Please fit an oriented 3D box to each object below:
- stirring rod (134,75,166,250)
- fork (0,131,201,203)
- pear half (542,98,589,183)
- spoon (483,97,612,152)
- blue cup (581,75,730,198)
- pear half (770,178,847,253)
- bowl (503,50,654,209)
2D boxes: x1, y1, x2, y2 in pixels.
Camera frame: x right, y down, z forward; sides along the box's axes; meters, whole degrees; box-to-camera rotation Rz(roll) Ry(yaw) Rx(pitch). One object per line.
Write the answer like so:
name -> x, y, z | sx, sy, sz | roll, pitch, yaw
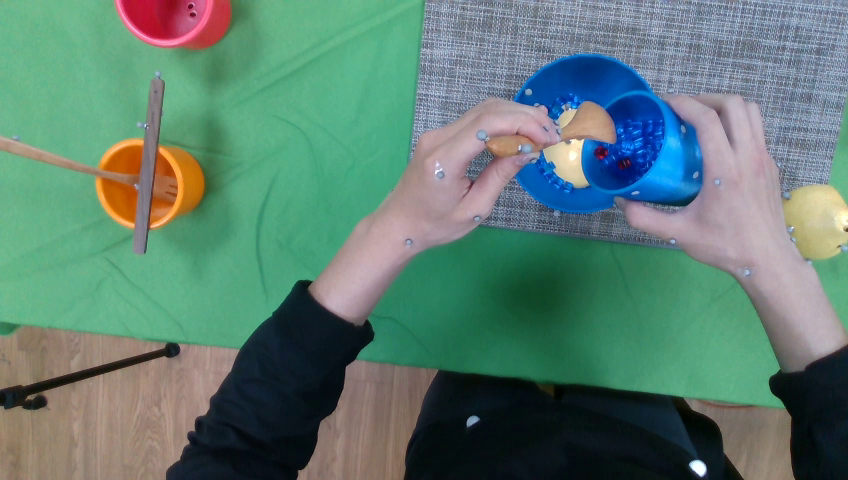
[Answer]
stirring rod -> -0.273, -0.075, 0.603 | 0.014, 0.006, 0.176 | 11, 101, -3
fork -> -0.326, -0.073, 0.606 | 0.209, 0.018, 0.028 | 17, 113, -45
pear half -> 0.155, -0.102, 0.609 | 0.070, 0.031, 0.088 | -19, 94, 2
spoon -> 0.091, -0.076, 0.419 | 0.021, 0.194, 0.041 | -36, 82, 41
blue cup -> 0.199, -0.074, 0.506 | 0.101, 0.092, 0.093 | 9, 101, -29
pear half -> 0.388, -0.021, 0.605 | 0.056, 0.109, 0.076 | -12, 95, 5
bowl -> 0.152, -0.110, 0.614 | 0.151, 0.076, 0.152 | 0, 100, 3
